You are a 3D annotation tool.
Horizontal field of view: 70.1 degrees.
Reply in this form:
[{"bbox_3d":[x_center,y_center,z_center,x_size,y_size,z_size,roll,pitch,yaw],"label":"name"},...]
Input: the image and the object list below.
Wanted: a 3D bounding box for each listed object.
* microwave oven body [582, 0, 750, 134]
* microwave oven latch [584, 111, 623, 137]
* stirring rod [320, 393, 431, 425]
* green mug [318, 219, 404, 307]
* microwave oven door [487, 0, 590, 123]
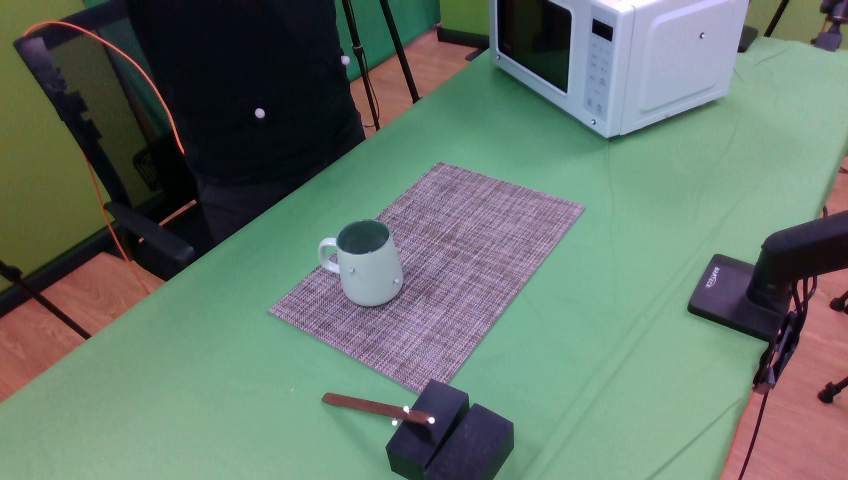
[{"bbox_3d":[0.382,-0.444,1.246,0.327,0.261,0.437,-22,42,-16],"label":"microwave oven body"},{"bbox_3d":[0.337,-0.222,1.142,0.030,0.029,0.078,-21,42,-14],"label":"microwave oven latch"},{"bbox_3d":[-0.061,0.198,0.712,0.175,0.006,0.014,-2,36,39],"label":"stirring rod"},{"bbox_3d":[-0.096,0.032,0.876,0.125,0.105,0.092,8,43,17],"label":"green mug"},{"bbox_3d":[0.232,-0.420,1.231,0.039,0.245,0.352,-22,43,-16],"label":"microwave oven door"}]
